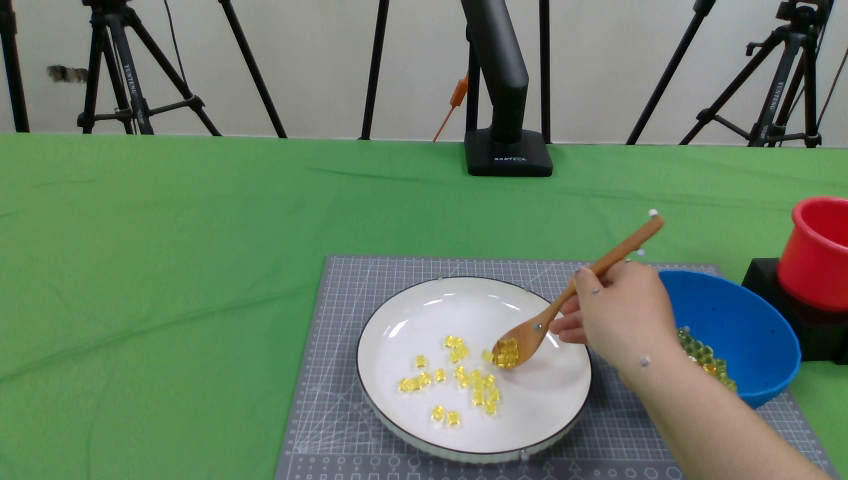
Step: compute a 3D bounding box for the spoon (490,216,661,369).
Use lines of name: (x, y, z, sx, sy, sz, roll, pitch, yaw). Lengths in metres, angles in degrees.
spoon: (0.122, 0.047, 0.510, 0.022, 0.194, 0.041, 26, 32, -22)

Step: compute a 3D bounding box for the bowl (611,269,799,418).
bowl: (0.234, 0.102, 0.534, 0.151, 0.077, 0.150, 2, 37, -1)

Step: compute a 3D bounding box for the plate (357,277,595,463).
plate: (0.045, 0.113, 0.545, 0.208, 0.039, 0.205, 1, 37, -1)
